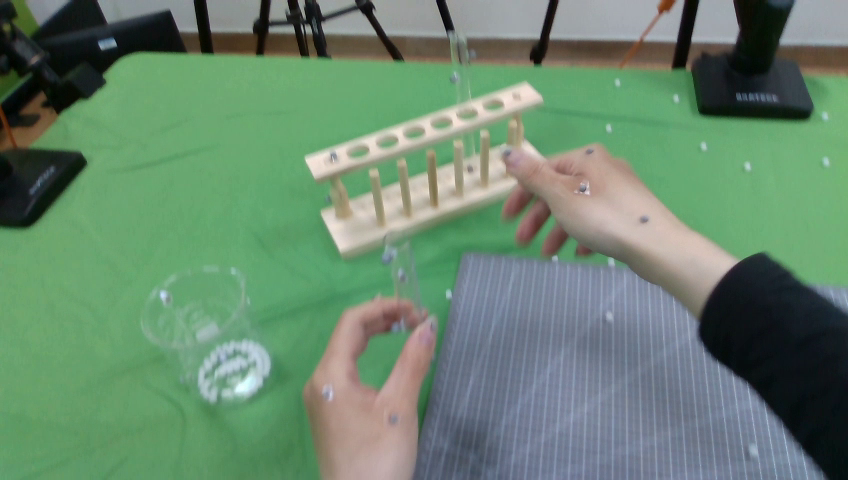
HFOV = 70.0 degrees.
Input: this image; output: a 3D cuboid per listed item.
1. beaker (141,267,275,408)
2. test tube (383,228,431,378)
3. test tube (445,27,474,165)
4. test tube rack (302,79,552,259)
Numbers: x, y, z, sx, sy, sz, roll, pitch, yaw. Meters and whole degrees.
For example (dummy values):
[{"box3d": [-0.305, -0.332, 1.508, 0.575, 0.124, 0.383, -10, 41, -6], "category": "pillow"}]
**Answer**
[{"box3d": [-0.162, 0.079, 0.479, 0.073, 0.101, 0.084, 27, 56, 28], "category": "beaker"}, {"box3d": [-0.009, 0.048, 0.396, 0.017, 0.152, 0.017, -3, 48, 4], "category": "test tube"}, {"box3d": [0.036, -0.136, 0.596, 0.017, 0.152, 0.017, -5, 44, 5], "category": "test tube"}, {"box3d": [0.011, -0.074, 0.610, 0.242, 0.086, 0.066, -22, 49, -13], "category": "test tube rack"}]
